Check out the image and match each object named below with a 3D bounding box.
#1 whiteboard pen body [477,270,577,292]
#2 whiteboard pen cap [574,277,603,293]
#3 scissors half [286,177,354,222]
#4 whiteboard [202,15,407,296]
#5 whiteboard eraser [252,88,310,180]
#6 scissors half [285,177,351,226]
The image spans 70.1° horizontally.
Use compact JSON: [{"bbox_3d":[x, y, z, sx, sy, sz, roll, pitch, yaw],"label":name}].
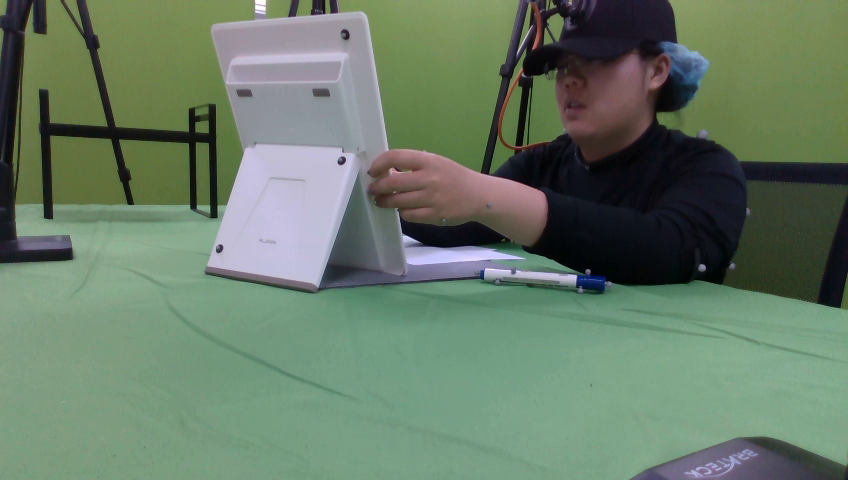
[{"bbox_3d":[0.131,0.049,0.706,0.140,0.017,0.017,5,8,18],"label":"whiteboard pen body"},{"bbox_3d":[0.186,0.051,0.687,0.033,0.018,0.018,5,8,17],"label":"whiteboard pen cap"},{"bbox_3d":[-0.230,-0.090,1.337,0.175,0.013,0.040,33,12,-13],"label":"scissors half"},{"bbox_3d":[-0.166,-0.073,0.668,0.216,0.305,0.144,8,30,29],"label":"whiteboard"},{"bbox_3d":[-0.180,-0.131,0.754,0.055,0.113,0.042,13,33,30],"label":"whiteboard eraser"},{"bbox_3d":[-0.232,-0.085,1.317,0.175,0.013,0.040,37,18,4],"label":"scissors half"}]
